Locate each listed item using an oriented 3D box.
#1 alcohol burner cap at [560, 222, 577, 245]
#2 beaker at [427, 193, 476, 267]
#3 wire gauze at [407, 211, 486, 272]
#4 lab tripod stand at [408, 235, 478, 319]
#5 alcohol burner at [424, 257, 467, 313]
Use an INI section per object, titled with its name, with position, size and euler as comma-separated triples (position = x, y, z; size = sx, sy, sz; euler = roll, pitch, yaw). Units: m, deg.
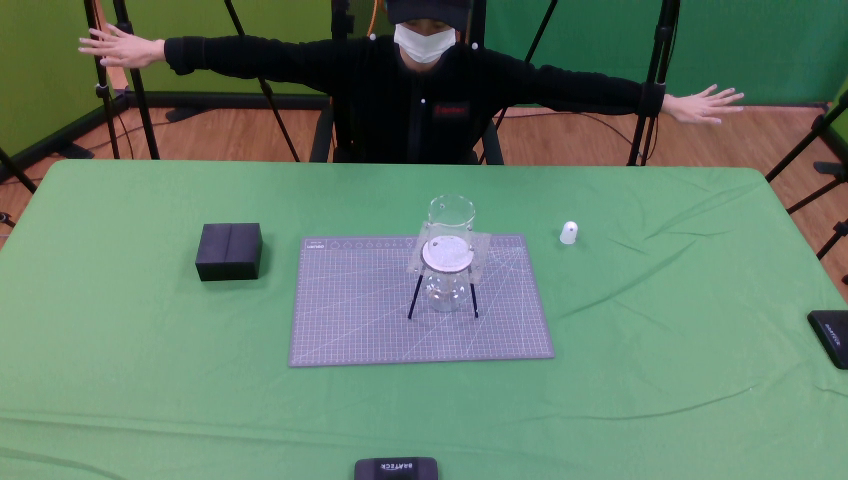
[alcohol burner cap]
position = 0.295, -0.016, 1.225
size = 0.034, 0.048, 0.033
euler = 1, 46, -1
[beaker]
position = 0.039, -0.011, 0.972
size = 0.084, 0.101, 0.073
euler = -30, 53, -28
[wire gauze]
position = 0.035, 0.004, 1.003
size = 0.125, 0.011, 0.120
euler = -6, 49, -3
[lab tripod stand]
position = 0.032, 0.065, 1.057
size = 0.148, 0.132, 0.147
euler = 1, 45, -1
[alcohol burner]
position = 0.038, 0.072, 1.064
size = 0.078, 0.120, 0.077
euler = 1, 47, -1
